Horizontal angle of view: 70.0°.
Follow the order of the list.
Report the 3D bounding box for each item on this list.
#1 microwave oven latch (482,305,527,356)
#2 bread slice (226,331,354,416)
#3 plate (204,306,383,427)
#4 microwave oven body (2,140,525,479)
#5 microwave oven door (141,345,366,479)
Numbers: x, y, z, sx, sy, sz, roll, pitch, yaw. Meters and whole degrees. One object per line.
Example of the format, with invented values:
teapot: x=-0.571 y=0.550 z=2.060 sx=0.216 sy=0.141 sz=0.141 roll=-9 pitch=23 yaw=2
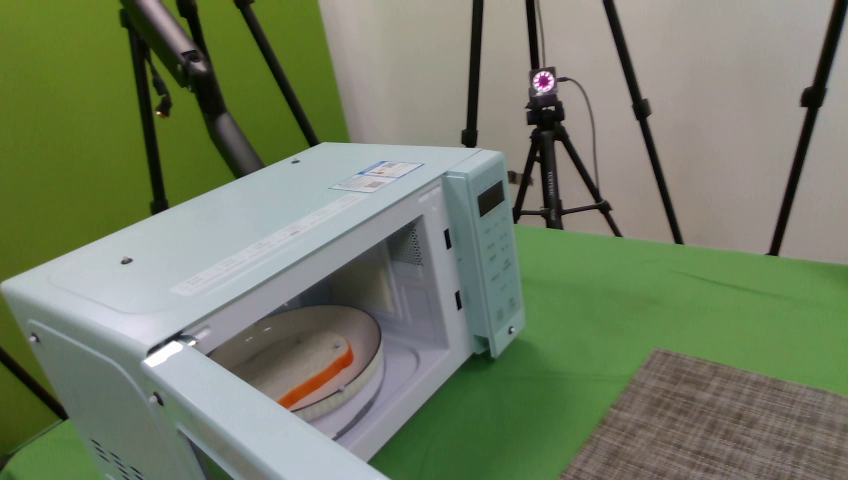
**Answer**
microwave oven latch: x=0.101 y=0.110 z=0.757 sx=0.030 sy=0.030 sz=0.079 roll=10 pitch=32 yaw=38
bread slice: x=-0.147 y=0.146 z=0.681 sx=0.131 sy=0.019 sz=0.104 roll=-32 pitch=32 yaw=-33
plate: x=-0.145 y=0.144 z=0.677 sx=0.209 sy=0.038 sz=0.207 roll=-10 pitch=23 yaw=5
microwave oven body: x=-0.138 y=0.081 z=0.685 sx=0.323 sy=0.262 sz=0.441 roll=9 pitch=32 yaw=37
microwave oven door: x=-0.035 y=0.210 z=0.335 sx=0.353 sy=0.245 sz=0.039 roll=14 pitch=34 yaw=43
